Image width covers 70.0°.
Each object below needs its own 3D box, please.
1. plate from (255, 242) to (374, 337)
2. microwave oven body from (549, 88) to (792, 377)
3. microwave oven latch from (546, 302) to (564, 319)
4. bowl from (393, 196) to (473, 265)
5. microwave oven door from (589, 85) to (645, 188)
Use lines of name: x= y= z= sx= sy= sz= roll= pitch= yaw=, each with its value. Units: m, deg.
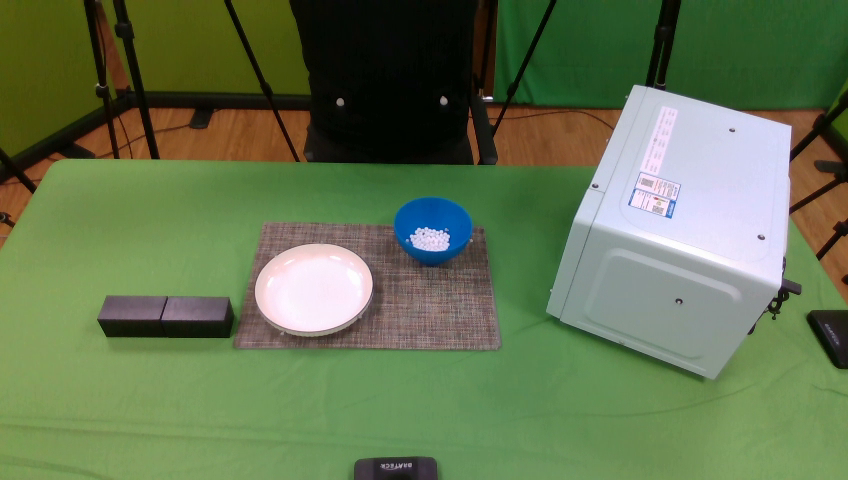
plate: x=-0.192 y=0.090 z=1.079 sx=0.208 sy=0.039 sz=0.206 roll=2 pitch=46 yaw=-2
microwave oven body: x=0.456 y=-0.028 z=1.088 sx=0.325 sy=0.261 sz=0.440 roll=20 pitch=47 yaw=16
microwave oven latch: x=0.242 y=0.102 z=1.081 sx=0.030 sy=0.029 sz=0.079 roll=22 pitch=48 yaw=17
bowl: x=0.014 y=-0.006 z=1.159 sx=0.151 sy=0.077 sz=0.150 roll=2 pitch=46 yaw=-2
microwave oven door: x=0.342 y=-0.107 z=1.149 sx=0.039 sy=0.245 sz=0.354 roll=20 pitch=48 yaw=15
